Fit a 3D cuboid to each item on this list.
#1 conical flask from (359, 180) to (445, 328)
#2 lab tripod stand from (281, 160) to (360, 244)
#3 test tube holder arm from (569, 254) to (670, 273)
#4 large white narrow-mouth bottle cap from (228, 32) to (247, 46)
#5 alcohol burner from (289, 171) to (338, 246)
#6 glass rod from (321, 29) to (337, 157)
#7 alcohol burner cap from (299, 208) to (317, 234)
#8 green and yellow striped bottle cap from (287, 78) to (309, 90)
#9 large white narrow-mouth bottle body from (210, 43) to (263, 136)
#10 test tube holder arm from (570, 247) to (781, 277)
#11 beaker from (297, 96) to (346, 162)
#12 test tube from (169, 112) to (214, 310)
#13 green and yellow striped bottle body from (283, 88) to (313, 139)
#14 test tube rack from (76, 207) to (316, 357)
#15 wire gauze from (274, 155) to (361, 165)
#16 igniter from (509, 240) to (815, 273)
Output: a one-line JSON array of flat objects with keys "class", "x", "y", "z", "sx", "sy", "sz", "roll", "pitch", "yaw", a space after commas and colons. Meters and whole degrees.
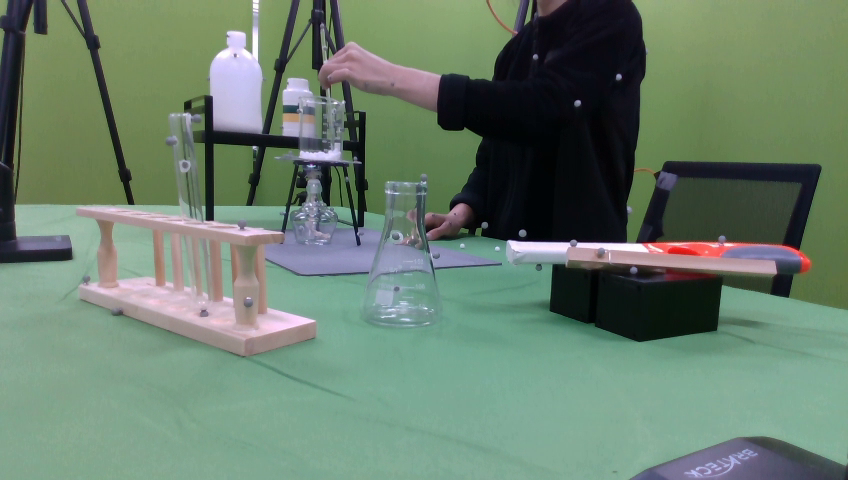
[{"class": "conical flask", "x": -0.017, "y": 0.010, "z": 0.522, "sx": 0.075, "sy": 0.122, "sz": 0.075, "roll": 2, "pitch": 7, "yaw": 0}, {"class": "lab tripod stand", "x": -0.170, "y": -0.063, "z": 0.983, "sx": 0.148, "sy": 0.131, "sz": 0.148, "roll": 1, "pitch": 6, "yaw": 0}, {"class": "test tube holder arm", "x": 0.172, "y": 0.019, "z": 0.532, "sx": 0.088, "sy": 0.015, "sz": 0.010, "roll": 3, "pitch": -23, "yaw": 4}, {"class": "large white narrow-mouth bottle cap", "x": -0.364, "y": -0.391, "z": 1.179, "sx": 0.038, "sy": 0.024, "sz": 0.037, "roll": 4, "pitch": 8, "yaw": 0}, {"class": "alcohol burner", "x": -0.177, "y": -0.051, "z": 0.968, "sx": 0.078, "sy": 0.119, "sz": 0.078, "roll": 1, "pitch": 6, "yaw": 0}, {"class": "glass rod", "x": -0.151, "y": -0.232, "z": 0.965, "sx": 0.008, "sy": 0.199, "sz": 0.008, "roll": -3, "pitch": 14, "yaw": 1}, {"class": "alcohol burner cap", "x": -0.213, "y": -0.035, "z": 1.110, "sx": 0.034, "sy": 0.048, "sz": 0.034, "roll": 2, "pitch": 7, "yaw": 0}, {"class": "green and yellow striped bottle cap", "x": -0.265, "y": -0.326, "z": 1.268, "sx": 0.045, "sy": 0.020, "sz": 0.045, "roll": 4, "pitch": 6, "yaw": 0}, {"class": "large white narrow-mouth bottle body", "x": -0.369, "y": -0.305, "z": 1.193, "sx": 0.102, "sy": 0.194, "sz": 0.102, "roll": 4, "pitch": 8, "yaw": 0}, {"class": "test tube holder arm", "x": 0.217, "y": 0.019, "z": 0.524, "sx": 0.178, "sy": 0.015, "sz": 0.013, "roll": 3, "pitch": -23, "yaw": 3}, {"class": "beaker", "x": -0.162, "y": -0.175, "z": 0.966, "sx": 0.083, "sy": 0.100, "sz": 0.074, "roll": 8, "pitch": 8, "yaw": 34}, {"class": "test tube", "x": -0.175, "y": -0.020, "z": 0.455, "sx": 0.017, "sy": 0.150, "sz": 0.017, "roll": -3, "pitch": 9, "yaw": 1}, {"class": "green and yellow striped bottle body", "x": -0.265, "y": -0.275, "z": 1.275, "sx": 0.063, "sy": 0.119, "sz": 0.063, "roll": 3, "pitch": 7, "yaw": 0}, {"class": "test tube rack", "x": -0.196, "y": 0.023, "z": 0.499, "sx": 0.241, "sy": 0.085, "sz": 0.067, "roll": 8, "pitch": 9, "yaw": 36}, {"class": "wire gauze", "x": -0.174, "y": -0.129, "z": 0.978, "sx": 0.125, "sy": 0.011, "sz": 0.121, "roll": -2, "pitch": 6, "yaw": -19}, {"class": "igniter", "x": 0.220, "y": 0.015, "z": 0.566, "sx": 0.277, "sy": 0.025, "sz": 0.057, "roll": 2, "pitch": 16, "yaw": 0}]
